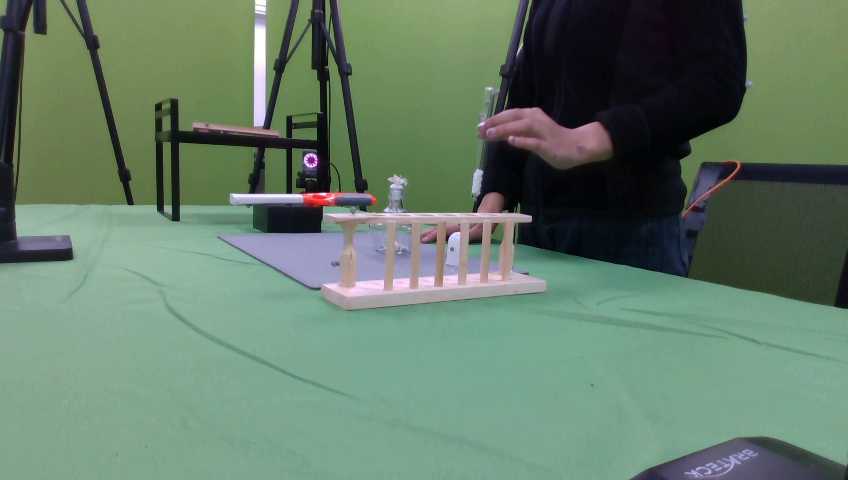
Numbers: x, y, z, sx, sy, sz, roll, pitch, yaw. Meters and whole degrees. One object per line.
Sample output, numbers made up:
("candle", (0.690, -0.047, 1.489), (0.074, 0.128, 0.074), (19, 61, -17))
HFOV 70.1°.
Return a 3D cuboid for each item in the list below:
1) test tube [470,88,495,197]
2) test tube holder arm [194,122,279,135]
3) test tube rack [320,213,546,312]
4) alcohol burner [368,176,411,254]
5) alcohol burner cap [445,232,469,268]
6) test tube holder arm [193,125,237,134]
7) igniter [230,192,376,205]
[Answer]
("test tube", (0.081, -0.134, 0.840), (0.017, 0.150, 0.017), (7, 13, -1))
("test tube holder arm", (-0.401, -0.238, 1.301), (0.179, 0.015, 0.013), (-2, -21, -29))
("test tube rack", (0.018, 0.017, 0.638), (0.244, 0.085, 0.066), (-2, 8, -31))
("alcohol burner", (-0.045, -0.038, 0.913), (0.078, 0.119, 0.078), (4, 8, 0))
("alcohol burner cap", (0.045, 0.013, 0.829), (0.034, 0.048, 0.034), (2, 8, 0))
("test tube holder arm", (-0.443, -0.235, 1.284), (0.088, 0.015, 0.010), (-2, -21, -28))
("igniter", (-0.226, -0.079, 1.161), (0.278, 0.025, 0.057), (-2, 15, -28))
